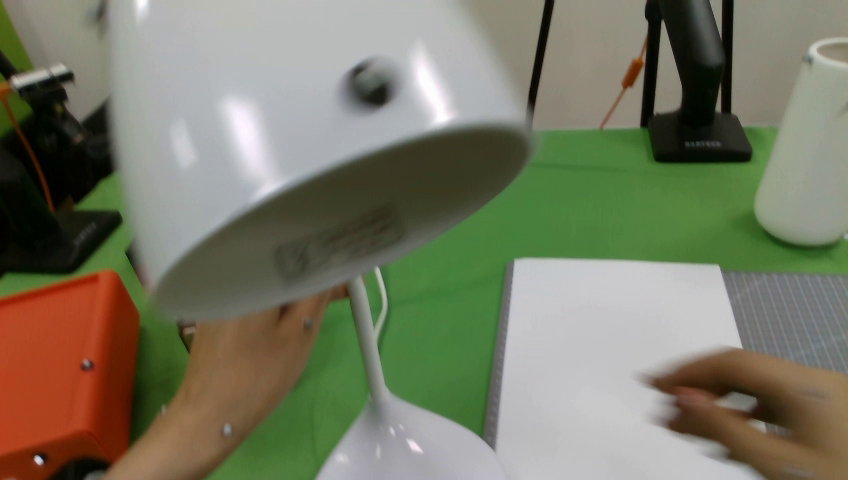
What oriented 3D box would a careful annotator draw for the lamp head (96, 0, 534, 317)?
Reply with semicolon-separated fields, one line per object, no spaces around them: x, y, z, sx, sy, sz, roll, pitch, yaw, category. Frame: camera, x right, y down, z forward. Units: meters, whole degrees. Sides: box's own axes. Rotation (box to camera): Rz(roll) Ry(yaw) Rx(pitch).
-0.042;-0.050;0.186;0.112;0.113;0.122;-22;73;-17;lamp head

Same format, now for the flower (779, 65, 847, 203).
0.383;-0.145;0.550;0.038;0.365;0.043;-37;58;-13;flower

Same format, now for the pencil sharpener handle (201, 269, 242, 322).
-0.194;0.048;0.591;0.036;0.068;0.030;-11;37;-13;pencil sharpener handle

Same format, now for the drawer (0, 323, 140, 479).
-0.373;0.141;0.545;0.195;0.074;0.209;-16;37;-9;drawer

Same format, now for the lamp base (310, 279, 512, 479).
-0.026;0.128;0.413;0.161;0.182;0.177;-18;33;-14;lamp base

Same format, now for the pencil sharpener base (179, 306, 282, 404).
-0.177;0.085;0.559;0.061;0.108;0.076;-16;38;-9;pencil sharpener base

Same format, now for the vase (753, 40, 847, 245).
0.402;-0.093;0.615;0.098;0.202;0.097;-6;36;4;vase

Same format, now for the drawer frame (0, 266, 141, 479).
-0.376;0.138;0.546;0.202;0.083;0.211;-16;37;-10;drawer frame

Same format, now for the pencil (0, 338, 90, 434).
-0.364;0.160;0.523;0.012;0.012;0.193;17;55;29;pencil
